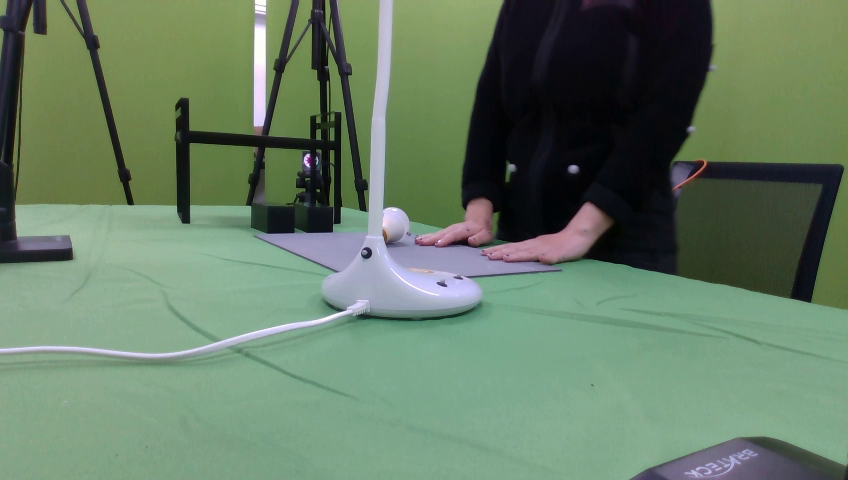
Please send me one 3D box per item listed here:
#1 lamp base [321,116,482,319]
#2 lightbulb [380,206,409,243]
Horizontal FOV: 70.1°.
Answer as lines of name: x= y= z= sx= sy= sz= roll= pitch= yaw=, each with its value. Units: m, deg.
lamp base: x=-0.023 y=-0.025 z=0.579 sx=0.160 sy=0.180 sz=0.179 roll=4 pitch=10 yaw=16
lightbulb: x=-0.064 y=-0.018 z=1.000 sx=0.059 sy=0.059 sz=0.108 roll=5 pitch=24 yaw=22
